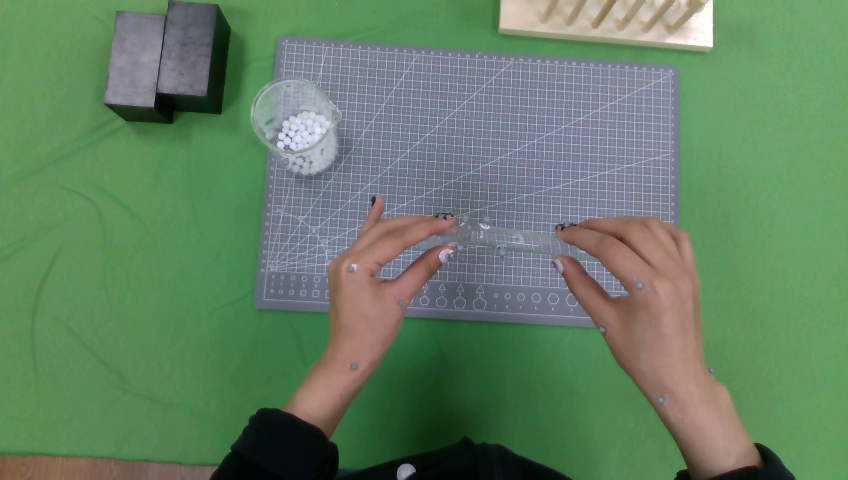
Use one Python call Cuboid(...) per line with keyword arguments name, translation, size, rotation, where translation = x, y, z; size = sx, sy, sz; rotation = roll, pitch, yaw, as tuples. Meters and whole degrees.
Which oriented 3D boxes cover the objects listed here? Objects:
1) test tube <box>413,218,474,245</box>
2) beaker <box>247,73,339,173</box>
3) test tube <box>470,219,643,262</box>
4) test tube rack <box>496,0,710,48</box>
Cuboid(name="test tube", translation=(0.013, -0.005, 0.507), size=(0.017, 0.150, 0.017), rotation=(0, 88, -13))
Cuboid(name="beaker", translation=(-0.123, -0.112, 0.606), size=(0.084, 0.100, 0.074), rotation=(-4, 83, -4))
Cuboid(name="test tube", translation=(0.104, 0.001, 0.457), size=(0.151, 0.017, 0.017), rotation=(8, 82, -22))
Cuboid(name="test tube rack", translation=(0.206, -0.267, 0.653), size=(0.242, 0.085, 0.066), rotation=(4, 83, -2))
